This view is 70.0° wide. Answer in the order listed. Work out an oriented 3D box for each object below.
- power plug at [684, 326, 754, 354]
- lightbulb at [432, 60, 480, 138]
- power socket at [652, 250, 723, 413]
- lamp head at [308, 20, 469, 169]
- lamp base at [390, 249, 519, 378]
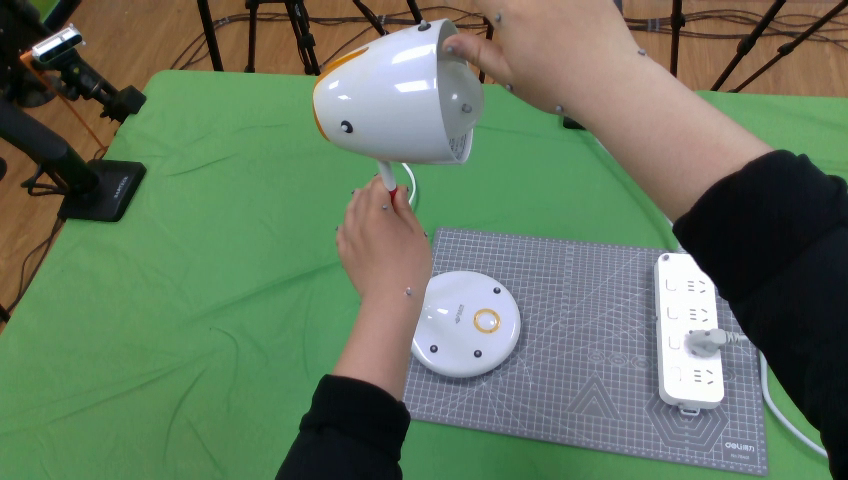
[{"bbox_3d":[0.362,0.130,0.752,0.072,0.053,0.035,14,62,13],"label":"power plug"},{"bbox_3d":[-0.009,-0.112,0.482,0.107,0.060,0.059,7,58,19],"label":"lightbulb"},{"bbox_3d":[0.340,0.110,0.790,0.072,0.033,0.225,5,58,9],"label":"power socket"},{"bbox_3d":[-0.029,-0.109,0.497,0.122,0.113,0.111,-7,55,21],"label":"lamp head"},{"bbox_3d":[0.028,0.071,0.768,0.179,0.182,0.159,-1,57,11],"label":"lamp base"}]
